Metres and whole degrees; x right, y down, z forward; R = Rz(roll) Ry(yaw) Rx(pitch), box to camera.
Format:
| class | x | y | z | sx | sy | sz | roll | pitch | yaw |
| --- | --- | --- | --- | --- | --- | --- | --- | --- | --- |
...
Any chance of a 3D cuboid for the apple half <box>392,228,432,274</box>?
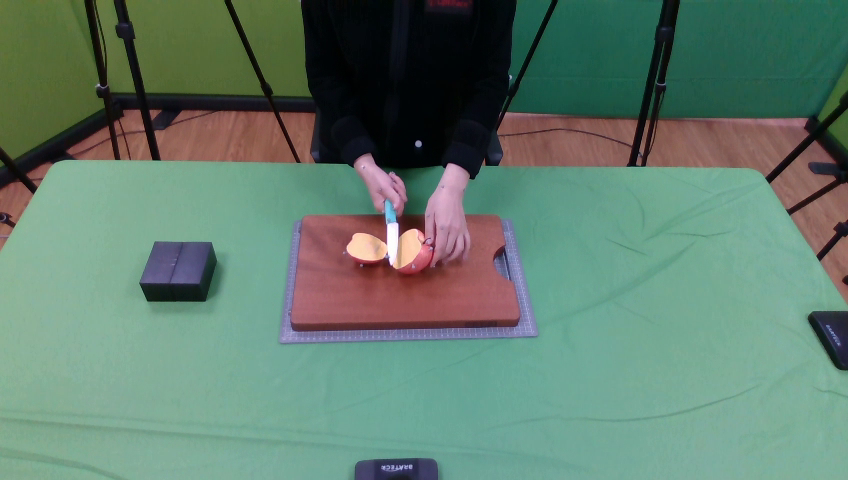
| class | x | y | z | sx | sy | sz | roll | pitch | yaw |
| --- | --- | --- | --- | --- | --- | --- | --- | --- | --- |
| apple half | -0.019 | 0.027 | 1.100 | 0.075 | 0.053 | 0.080 | -41 | 39 | 17 |

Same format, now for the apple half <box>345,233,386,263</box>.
| class | x | y | z | sx | sy | sz | roll | pitch | yaw |
| --- | --- | --- | --- | --- | --- | --- | --- | --- | --- |
| apple half | -0.109 | 0.024 | 1.120 | 0.081 | 0.033 | 0.081 | 14 | 36 | -10 |

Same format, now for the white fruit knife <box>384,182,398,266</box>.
| class | x | y | z | sx | sy | sz | roll | pitch | yaw |
| --- | --- | --- | --- | --- | --- | --- | --- | --- | --- |
| white fruit knife | -0.061 | -0.034 | 1.108 | 0.027 | 0.016 | 0.206 | 14 | 47 | -17 |
